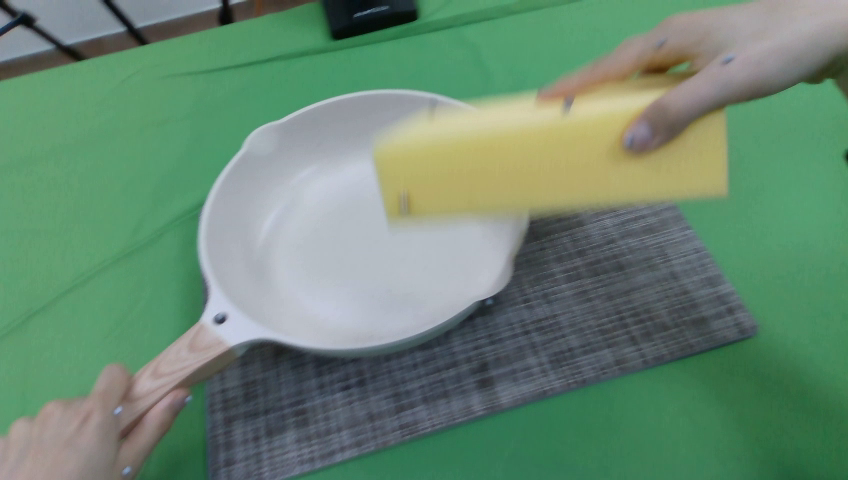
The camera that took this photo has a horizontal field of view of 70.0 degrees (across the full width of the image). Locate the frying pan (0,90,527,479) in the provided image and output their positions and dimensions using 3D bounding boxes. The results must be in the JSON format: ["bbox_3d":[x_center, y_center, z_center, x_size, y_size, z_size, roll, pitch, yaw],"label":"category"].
[{"bbox_3d":[-0.122,0.039,0.503,0.304,0.103,0.487,32,55,28],"label":"frying pan"}]

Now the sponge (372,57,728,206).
[{"bbox_3d":[0.085,-0.074,0.408,0.206,0.061,0.118,-2,22,18],"label":"sponge"}]
